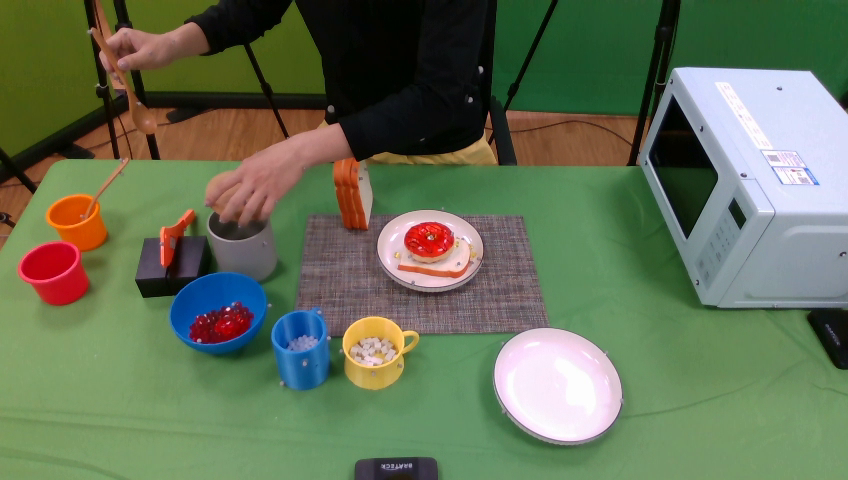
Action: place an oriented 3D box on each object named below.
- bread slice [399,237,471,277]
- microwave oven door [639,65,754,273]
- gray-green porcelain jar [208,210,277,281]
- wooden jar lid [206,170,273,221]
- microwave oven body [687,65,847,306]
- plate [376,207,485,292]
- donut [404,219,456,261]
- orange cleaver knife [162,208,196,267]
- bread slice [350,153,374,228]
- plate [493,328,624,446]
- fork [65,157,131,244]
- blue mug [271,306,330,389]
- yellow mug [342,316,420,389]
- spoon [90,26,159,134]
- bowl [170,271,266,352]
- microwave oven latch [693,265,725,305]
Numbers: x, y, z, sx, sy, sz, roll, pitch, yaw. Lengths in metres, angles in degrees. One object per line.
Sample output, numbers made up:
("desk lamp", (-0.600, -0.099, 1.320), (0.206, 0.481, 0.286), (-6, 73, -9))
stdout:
("bread slice", (0.025, 0.025, 1.161), (0.131, 0.019, 0.104), (6, 47, 8))
("microwave oven door", (0.522, -0.147, 1.192), (0.039, 0.245, 0.353), (0, 47, -3))
("gray-green porcelain jar", (-0.323, 0.007, 1.092), (0.106, 0.127, 0.105), (2, 46, -2))
("wooden jar lid", (-0.310, -0.073, 1.020), (0.108, 0.021, 0.107), (10, 49, -12))
("microwave oven body", (0.669, -0.111, 1.176), (0.326, 0.261, 0.439), (0, 46, -3))
("plate", (0.012, 0.021, 1.159), (0.209, 0.038, 0.208), (2, 47, -2))
("donut", (0.012, -0.001, 1.140), (0.099, 0.048, 0.098), (0, 44, 0))
("orange cleaver knife", (-0.455, -0.010, 1.129), (0.012, 0.077, 0.210), (0, 17, -6))
("bread slice", (-0.124, -0.104, 1.207), (0.018, 0.135, 0.106), (-2, 48, 7))
("plate", (0.213, 0.236, 0.974), (0.208, 0.039, 0.206), (2, 46, -2))
("fork", (-0.608, -0.074, 1.132), (0.207, 0.019, 0.028), (-52, 50, 10))
("blue mug", (-0.188, 0.163, 0.969), (0.082, 0.106, 0.116), (15, 47, 10))
("yellow mug", (-0.068, 0.178, 0.990), (0.131, 0.064, 0.099), (-15, 50, -19))
("spoon", (-0.508, -0.269, 1.032), (0.021, 0.195, 0.041), (14, 46, 31))
("bowl", (-0.333, 0.132, 1.006), (0.151, 0.077, 0.150), (2, 46, -2))
("microwave oven latch", (0.522, 0.081, 1.115), (0.030, 0.029, 0.078), (2, 46, -1))
